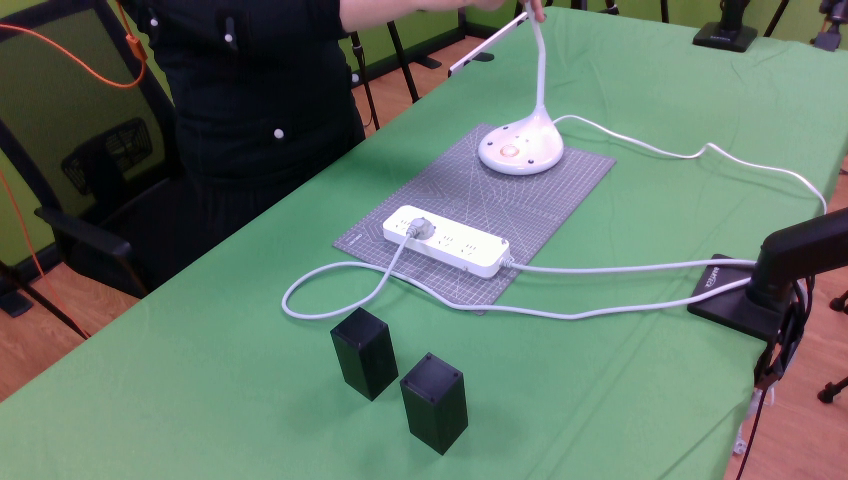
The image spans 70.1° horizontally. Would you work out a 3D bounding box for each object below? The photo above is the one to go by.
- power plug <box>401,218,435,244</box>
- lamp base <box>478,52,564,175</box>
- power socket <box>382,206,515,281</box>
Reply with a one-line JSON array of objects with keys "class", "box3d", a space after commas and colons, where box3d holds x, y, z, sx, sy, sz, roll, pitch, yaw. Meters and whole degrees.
[{"class": "power plug", "box3d": [-0.014, -0.005, 0.937, 0.073, 0.053, 0.035, -38, 47, -26]}, {"class": "lamp base", "box3d": [0.181, -0.237, 1.095, 0.159, 0.181, 0.179, 20, 44, 29]}, {"class": "power socket", "box3d": [0.032, 0.002, 0.950, 0.225, 0.033, 0.072, 21, 49, 29]}]
